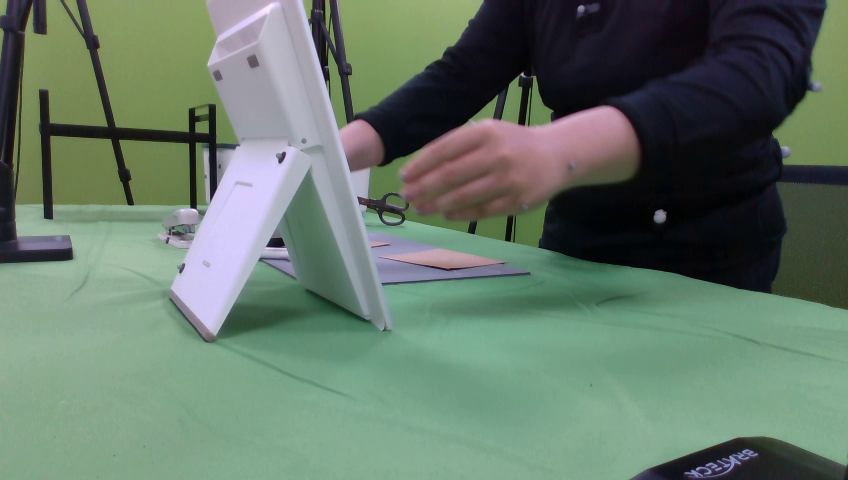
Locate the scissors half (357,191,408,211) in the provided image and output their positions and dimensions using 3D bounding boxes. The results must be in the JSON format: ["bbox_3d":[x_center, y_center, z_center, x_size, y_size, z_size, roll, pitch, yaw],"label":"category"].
[{"bbox_3d":[-0.122,-0.091,1.318,0.175,0.040,0.013,6,15,-2],"label":"scissors half"}]

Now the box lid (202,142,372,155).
[{"bbox_3d":[-0.344,-0.225,1.509,0.373,0.015,0.262,-2,8,-31],"label":"box lid"}]

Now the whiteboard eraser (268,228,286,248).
[{"bbox_3d":[-0.253,-0.008,0.886,0.055,0.042,0.113,11,12,42],"label":"whiteboard eraser"}]

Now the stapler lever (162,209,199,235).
[{"bbox_3d":[-0.376,-0.031,0.933,0.027,0.040,0.117,1,7,-38],"label":"stapler lever"}]

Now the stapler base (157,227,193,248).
[{"bbox_3d":[-0.376,-0.007,0.935,0.041,0.024,0.130,1,5,-38],"label":"stapler base"}]

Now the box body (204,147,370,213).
[{"bbox_3d":[-0.347,-0.152,1.519,0.366,0.160,0.253,-2,9,-31],"label":"box body"}]

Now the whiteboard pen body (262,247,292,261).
[{"bbox_3d":[-0.207,0.018,0.804,0.141,0.017,0.017,3,7,1],"label":"whiteboard pen body"}]

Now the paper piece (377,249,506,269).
[{"bbox_3d":[0.025,0.027,0.865,0.134,0.004,0.136,10,9,43],"label":"paper piece"}]

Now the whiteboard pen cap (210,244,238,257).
[{"bbox_3d":[-0.266,0.014,0.806,0.033,0.018,0.018,0,8,-1],"label":"whiteboard pen cap"}]

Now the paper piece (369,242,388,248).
[{"bbox_3d":[-0.151,0.003,0.978,0.135,0.008,0.139,14,10,34],"label":"paper piece"}]

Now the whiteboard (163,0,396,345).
[{"bbox_3d":[-0.173,-0.053,0.511,0.144,0.305,0.216,-23,19,-26],"label":"whiteboard"}]

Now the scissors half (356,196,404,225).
[{"bbox_3d":[-0.127,-0.072,1.322,0.175,0.040,0.013,22,8,-5],"label":"scissors half"}]

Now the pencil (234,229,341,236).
[{"bbox_3d":[-0.232,-0.012,1.053,0.195,0.012,0.012,0,8,-36],"label":"pencil"}]
